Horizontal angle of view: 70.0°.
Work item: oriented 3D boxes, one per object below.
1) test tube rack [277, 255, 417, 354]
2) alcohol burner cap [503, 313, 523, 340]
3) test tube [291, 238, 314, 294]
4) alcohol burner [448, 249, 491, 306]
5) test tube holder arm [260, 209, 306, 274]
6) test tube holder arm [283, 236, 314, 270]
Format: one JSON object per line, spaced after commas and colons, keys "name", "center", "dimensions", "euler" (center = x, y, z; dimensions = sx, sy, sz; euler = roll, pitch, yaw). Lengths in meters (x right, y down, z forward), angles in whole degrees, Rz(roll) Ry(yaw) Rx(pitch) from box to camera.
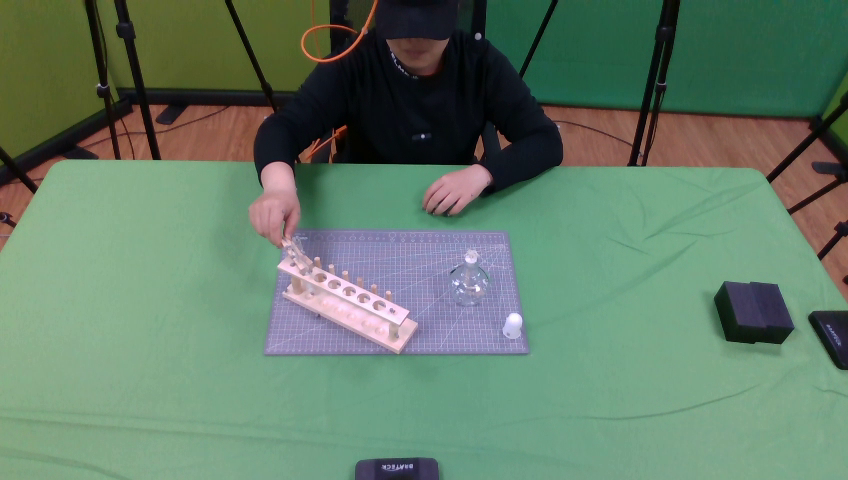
{"name": "test tube rack", "center": [-0.131, 0.099, 1.045], "dimensions": [0.241, 0.085, 0.066], "euler": [23, 49, 17]}
{"name": "alcohol burner cap", "center": [0.156, 0.148, 1.051], "dimensions": [0.034, 0.048, 0.033], "euler": [1, 45, -1]}
{"name": "test tube", "center": [-0.203, 0.047, 1.015], "dimensions": [0.017, 0.151, 0.017], "euler": [0, 53, 0]}
{"name": "alcohol burner", "center": [0.081, 0.062, 1.078], "dimensions": [0.078, 0.120, 0.077], "euler": [1, 45, -1]}
{"name": "test tube holder arm", "center": [-0.245, -0.001, 1.039], "dimensions": [0.013, 0.015, 0.177], "euler": [-28, 50, -21]}
{"name": "test tube holder arm", "center": [-0.213, 0.021, 1.015], "dimensions": [0.010, 0.015, 0.087], "euler": [-35, 53, -25]}
